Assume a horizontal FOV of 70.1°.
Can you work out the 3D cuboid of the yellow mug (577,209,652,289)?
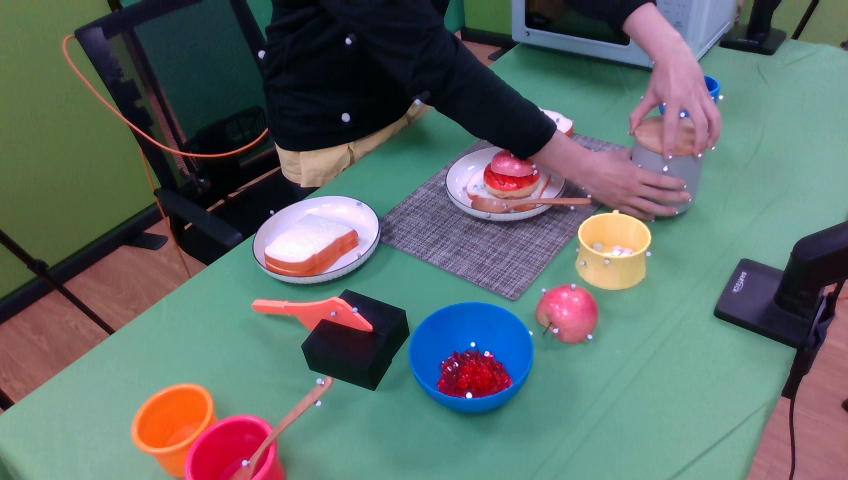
[{"bbox_3d":[0.279,0.004,0.893,0.099,0.064,0.130,5,41,15],"label":"yellow mug"}]

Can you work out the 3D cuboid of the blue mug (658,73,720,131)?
[{"bbox_3d":[0.483,-0.250,1.127,0.082,0.106,0.115,-25,44,-19],"label":"blue mug"}]

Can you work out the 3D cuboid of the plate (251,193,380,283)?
[{"bbox_3d":[-0.174,-0.001,0.985,0.209,0.038,0.208,-4,41,4],"label":"plate"}]

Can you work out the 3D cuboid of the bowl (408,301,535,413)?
[{"bbox_3d":[0.060,0.156,0.739,0.151,0.077,0.150,-4,40,4],"label":"bowl"}]

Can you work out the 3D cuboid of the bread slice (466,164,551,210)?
[{"bbox_3d":[0.141,-0.093,1.041,0.133,0.018,0.107,9,42,20],"label":"bread slice"}]

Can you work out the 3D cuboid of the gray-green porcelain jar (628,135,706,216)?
[{"bbox_3d":[0.384,-0.110,0.964,0.106,0.127,0.105,-5,41,5],"label":"gray-green porcelain jar"}]

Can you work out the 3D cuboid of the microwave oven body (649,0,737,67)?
[{"bbox_3d":[0.475,-0.602,1.411,0.438,0.261,0.327,23,50,32],"label":"microwave oven body"}]

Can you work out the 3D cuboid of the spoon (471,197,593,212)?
[{"bbox_3d":[0.172,-0.060,0.975,0.193,0.022,0.041,-4,38,17],"label":"spoon"}]

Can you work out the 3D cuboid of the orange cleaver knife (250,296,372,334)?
[{"bbox_3d":[-0.158,0.103,0.828,0.210,0.078,0.012,-4,43,39],"label":"orange cleaver knife"}]

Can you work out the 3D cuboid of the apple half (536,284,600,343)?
[{"bbox_3d":[0.196,0.090,0.815,0.075,0.053,0.080,-22,42,-20],"label":"apple half"}]

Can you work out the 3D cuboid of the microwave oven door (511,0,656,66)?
[{"bbox_3d":[0.350,-0.539,1.348,0.353,0.245,0.039,24,50,31],"label":"microwave oven door"}]

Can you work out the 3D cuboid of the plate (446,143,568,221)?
[{"bbox_3d":[0.142,-0.097,1.045,0.207,0.039,0.206,-4,40,4],"label":"plate"}]

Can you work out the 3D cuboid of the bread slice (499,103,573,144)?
[{"bbox_3d":[0.231,-0.232,1.205,0.105,0.019,0.130,-36,47,-29],"label":"bread slice"}]

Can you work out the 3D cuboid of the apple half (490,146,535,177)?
[{"bbox_3d":[0.147,-0.137,0.994,0.081,0.033,0.081,1,38,0],"label":"apple half"}]

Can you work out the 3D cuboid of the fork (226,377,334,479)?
[{"bbox_3d":[-0.163,0.216,0.647,0.207,0.019,0.028,-49,42,16],"label":"fork"}]

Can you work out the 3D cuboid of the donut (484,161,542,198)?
[{"bbox_3d":[0.149,-0.110,1.016,0.099,0.048,0.098,-4,41,4],"label":"donut"}]

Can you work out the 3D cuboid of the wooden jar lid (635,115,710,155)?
[{"bbox_3d":[0.377,-0.156,0.924,0.108,0.021,0.108,-3,41,3],"label":"wooden jar lid"}]

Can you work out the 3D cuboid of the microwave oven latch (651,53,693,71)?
[{"bbox_3d":[0.533,-0.387,1.301,0.078,0.029,0.030,28,53,35],"label":"microwave oven latch"}]
